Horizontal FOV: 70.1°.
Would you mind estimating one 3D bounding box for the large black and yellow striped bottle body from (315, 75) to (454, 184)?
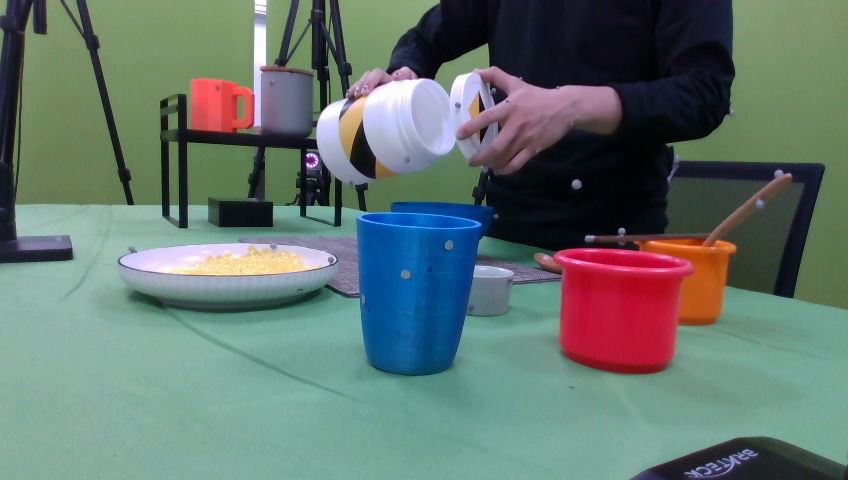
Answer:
[{"bbox_3d":[-0.057,-0.163,0.898,0.183,0.130,0.131,-11,-3,39],"label":"large black and yellow striped bottle body"}]

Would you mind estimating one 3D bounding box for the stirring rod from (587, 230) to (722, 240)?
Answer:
[{"bbox_3d":[0.227,-0.006,0.585,0.177,0.006,0.014,-2,7,-28],"label":"stirring rod"}]

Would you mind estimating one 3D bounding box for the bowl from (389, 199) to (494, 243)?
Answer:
[{"bbox_3d":[0.023,-0.015,0.872,0.151,0.077,0.151,3,7,0],"label":"bowl"}]

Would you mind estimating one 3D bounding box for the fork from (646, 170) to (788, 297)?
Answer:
[{"bbox_3d":[0.256,0.004,0.543,0.028,0.018,0.207,3,-36,-10],"label":"fork"}]

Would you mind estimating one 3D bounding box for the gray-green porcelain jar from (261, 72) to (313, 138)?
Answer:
[{"bbox_3d":[-0.284,-0.276,1.253,0.106,0.126,0.106,2,8,0],"label":"gray-green porcelain jar"}]

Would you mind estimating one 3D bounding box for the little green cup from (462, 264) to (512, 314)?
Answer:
[{"bbox_3d":[0.053,0.047,0.580,0.061,0.038,0.061,3,8,0],"label":"little green cup"}]

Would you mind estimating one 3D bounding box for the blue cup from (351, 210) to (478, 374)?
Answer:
[{"bbox_3d":[-0.009,0.034,0.414,0.093,0.100,0.092,4,8,0],"label":"blue cup"}]

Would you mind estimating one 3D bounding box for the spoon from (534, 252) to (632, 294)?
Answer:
[{"bbox_3d":[0.193,0.038,0.753,0.042,0.021,0.193,14,2,-21],"label":"spoon"}]

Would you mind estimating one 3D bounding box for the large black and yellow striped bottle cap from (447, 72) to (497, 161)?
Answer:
[{"bbox_3d":[0.065,-0.161,0.792,0.018,0.115,0.115,-7,2,31],"label":"large black and yellow striped bottle cap"}]

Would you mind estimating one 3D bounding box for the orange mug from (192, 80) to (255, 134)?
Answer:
[{"bbox_3d":[-0.389,-0.257,1.172,0.126,0.100,0.083,-1,6,9],"label":"orange mug"}]

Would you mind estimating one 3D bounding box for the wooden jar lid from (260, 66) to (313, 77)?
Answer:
[{"bbox_3d":[-0.283,-0.339,1.244,0.108,0.020,0.108,6,8,-1],"label":"wooden jar lid"}]

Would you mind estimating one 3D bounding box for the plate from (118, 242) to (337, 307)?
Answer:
[{"bbox_3d":[-0.194,0.033,0.615,0.209,0.038,0.209,2,7,0],"label":"plate"}]
